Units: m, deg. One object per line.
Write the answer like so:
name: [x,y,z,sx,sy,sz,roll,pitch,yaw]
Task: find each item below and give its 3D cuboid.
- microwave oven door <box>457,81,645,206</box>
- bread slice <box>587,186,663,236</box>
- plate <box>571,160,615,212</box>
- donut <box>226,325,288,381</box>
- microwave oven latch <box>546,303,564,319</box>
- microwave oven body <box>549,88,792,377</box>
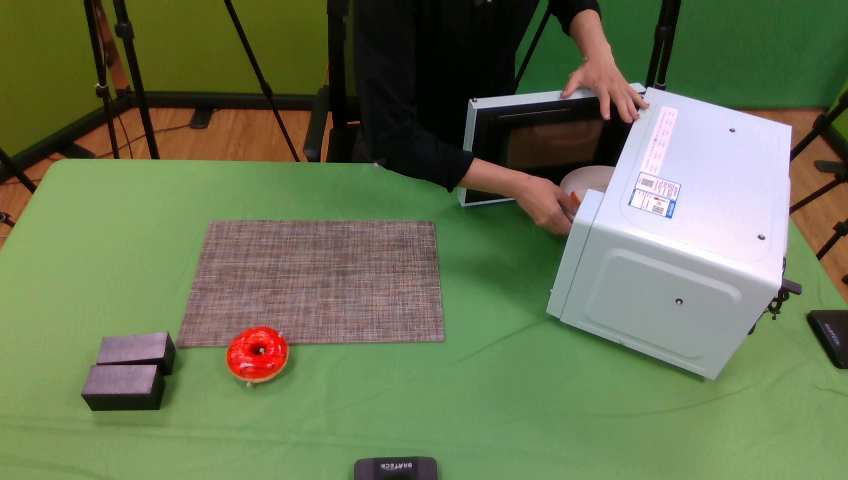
microwave oven door: [0.251,-0.192,1.223,0.356,0.245,0.039,-9,47,-12]
bread slice: [0.391,-0.061,1.171,0.131,0.019,0.104,-6,58,-1]
plate: [0.383,-0.066,1.165,0.208,0.039,0.206,3,54,-4]
donut: [-0.270,0.182,0.984,0.099,0.048,0.098,5,49,-5]
microwave oven latch: [0.242,0.102,1.081,0.030,0.029,0.079,22,48,17]
microwave oven body: [0.456,-0.028,1.088,0.325,0.261,0.440,20,47,16]
